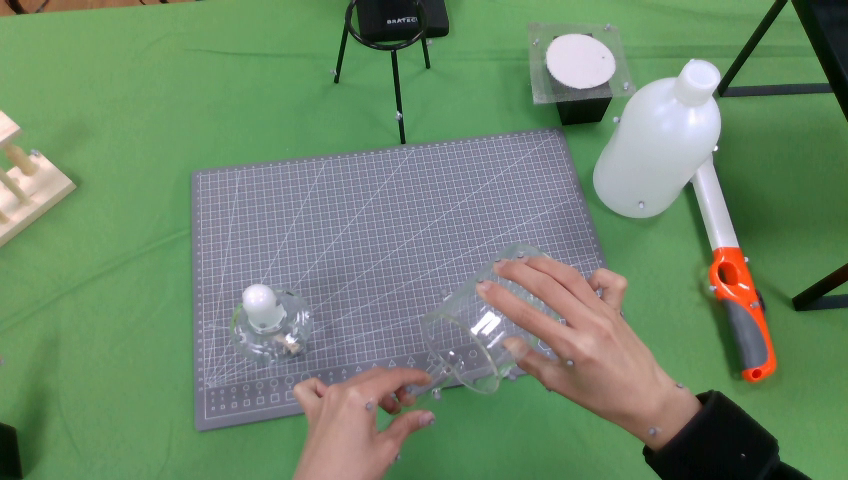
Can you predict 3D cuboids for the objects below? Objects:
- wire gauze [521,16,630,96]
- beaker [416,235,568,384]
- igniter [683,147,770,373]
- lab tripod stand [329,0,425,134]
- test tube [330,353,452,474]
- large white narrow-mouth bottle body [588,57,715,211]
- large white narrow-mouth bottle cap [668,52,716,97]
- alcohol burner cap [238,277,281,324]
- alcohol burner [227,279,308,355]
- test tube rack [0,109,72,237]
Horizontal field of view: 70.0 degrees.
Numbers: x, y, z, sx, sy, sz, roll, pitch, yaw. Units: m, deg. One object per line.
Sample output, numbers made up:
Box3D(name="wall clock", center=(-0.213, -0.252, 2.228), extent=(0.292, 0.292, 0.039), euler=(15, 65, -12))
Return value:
Box3D(name="wire gauze", center=(0.182, -0.228, 0.741), extent=(0.121, 0.011, 0.124), euler=(-1, 65, -3))
Box3D(name="beaker", center=(0.055, 0.050, 0.460), extent=(0.073, 0.084, 0.100), euler=(42, 62, 16))
Box3D(name="igniter", center=(0.333, 0.012, 0.680), extent=(0.057, 0.025, 0.274), euler=(2, 64, -14))
Box3D(name="lab tripod stand", center=(-0.046, -0.219, 0.710), extent=(0.148, 0.132, 0.147), euler=(2, 65, -4))
Box3D(name="test tube", center=(-0.031, 0.145, 0.497), extent=(0.150, 0.017, 0.017), euler=(-48, 71, 19))
Box3D(name="large white narrow-mouth bottle body", center=(0.246, -0.116, 0.643), extent=(0.102, 0.196, 0.101), euler=(1, 64, -2))
Box3D(name="large white narrow-mouth bottle cap", center=(0.249, -0.155, 0.566), extent=(0.038, 0.024, 0.037), euler=(1, 64, -2))
Box3D(name="alcohol burner cap", center=(-0.150, 0.052, 0.545), extent=(0.034, 0.048, 0.033), euler=(0, 59, 0))
Box3D(name="alcohol burner", center=(-0.152, 0.068, 0.578), extent=(0.078, 0.120, 0.077), euler=(2, 63, -4))
Box3D(name="test tube rack", center=(-0.502, -0.022, 0.619), extent=(0.066, 0.086, 0.242), euler=(38, 69, 14))
